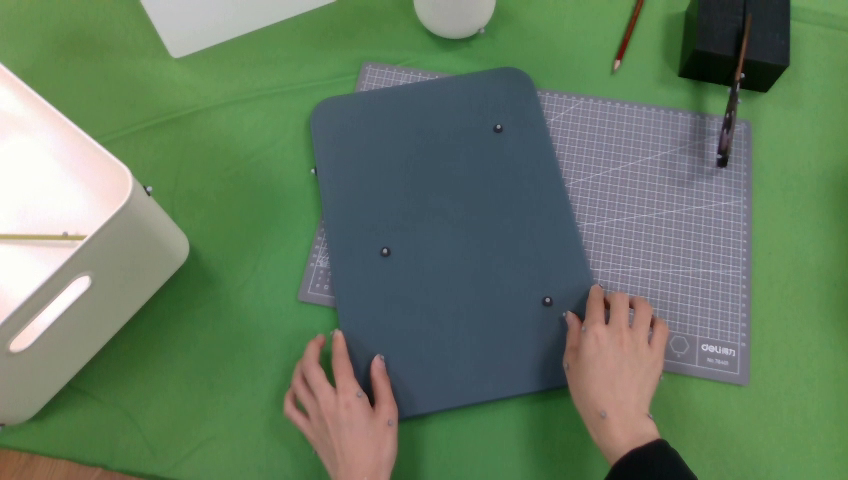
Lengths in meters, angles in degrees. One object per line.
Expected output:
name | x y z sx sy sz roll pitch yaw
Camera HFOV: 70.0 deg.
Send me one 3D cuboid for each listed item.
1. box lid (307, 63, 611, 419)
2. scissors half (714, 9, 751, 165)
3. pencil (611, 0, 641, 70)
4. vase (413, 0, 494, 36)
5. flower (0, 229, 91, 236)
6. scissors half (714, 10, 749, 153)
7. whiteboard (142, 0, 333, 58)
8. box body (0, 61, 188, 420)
box lid | 0.026 -0.019 0.639 0.263 0.015 0.368 -11 70 -4
scissors half | 0.337 -0.166 0.656 0.012 0.040 0.175 11 89 30
pencil | 0.257 -0.282 0.736 0.012 0.012 0.193 22 73 9
vase | 0.032 -0.317 0.651 0.098 0.201 0.097 -1 68 2
flower | -0.438 -0.010 0.633 0.361 0.038 0.044 1 98 5
scissors half | 0.328 -0.171 0.638 0.013 0.040 0.174 12 72 25
whiteboard | -0.250 -0.401 0.661 0.217 0.308 0.142 -23 51 -7
box body | -0.443 -0.033 0.571 0.362 0.161 0.253 36 74 13
